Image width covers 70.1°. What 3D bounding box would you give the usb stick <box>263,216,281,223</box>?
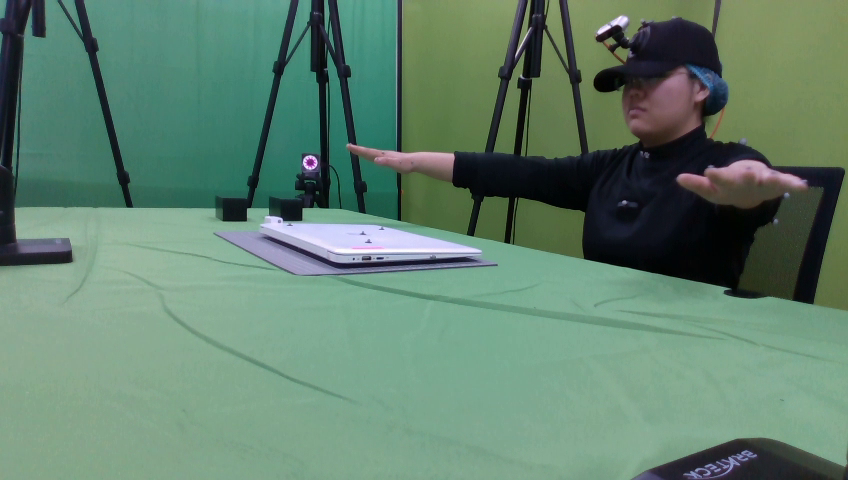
[{"bbox_3d":[-0.269,-0.028,1.080,0.021,0.027,0.059,-2,11,-30],"label":"usb stick"}]

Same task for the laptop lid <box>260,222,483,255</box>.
[{"bbox_3d":[-0.099,-0.005,0.962,0.243,0.013,0.355,1,7,-30],"label":"laptop lid"}]

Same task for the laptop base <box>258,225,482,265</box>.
[{"bbox_3d":[-0.102,0.006,0.962,0.237,0.023,0.352,2,6,-32],"label":"laptop base"}]
